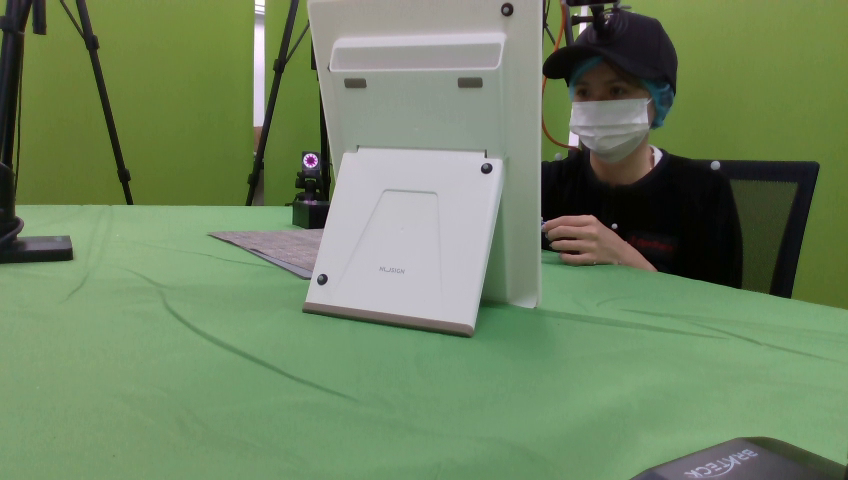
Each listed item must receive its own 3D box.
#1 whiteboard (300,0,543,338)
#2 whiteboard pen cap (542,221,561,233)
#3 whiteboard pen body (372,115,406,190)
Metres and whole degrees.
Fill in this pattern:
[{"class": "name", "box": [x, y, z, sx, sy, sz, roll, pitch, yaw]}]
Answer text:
[{"class": "whiteboard", "box": [-0.020, -0.050, 0.523, 0.216, 0.305, 0.144, 6, 27, 22]}, {"class": "whiteboard pen cap", "box": [0.192, -0.020, 0.926, 0.033, 0.018, 0.018, -2, 4, 33]}, {"class": "whiteboard pen body", "box": [-0.039, -0.098, 0.667, 0.017, 0.017, 0.140, 4, 42, 10]}]
